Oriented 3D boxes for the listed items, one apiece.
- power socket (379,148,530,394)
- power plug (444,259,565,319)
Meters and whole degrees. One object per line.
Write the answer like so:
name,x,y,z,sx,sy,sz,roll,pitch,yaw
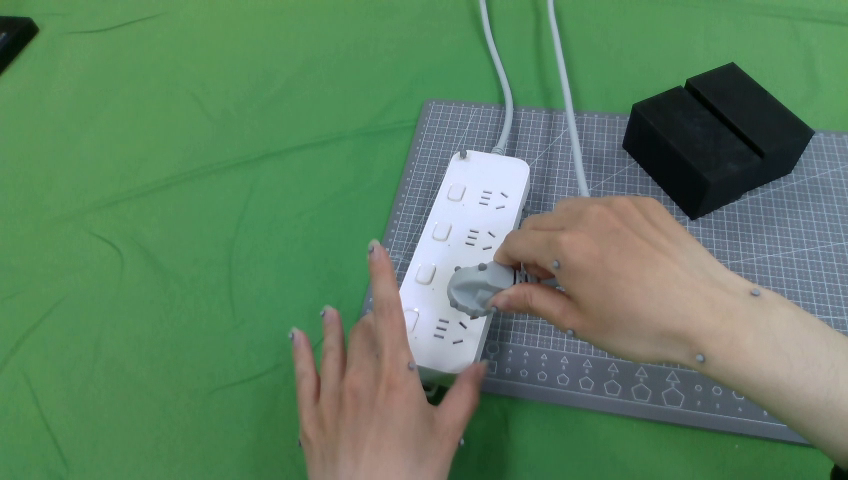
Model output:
power socket,0.030,0.012,0.484,0.072,0.033,0.225,14,57,13
power plug,0.048,0.040,0.401,0.072,0.053,0.035,25,53,5
